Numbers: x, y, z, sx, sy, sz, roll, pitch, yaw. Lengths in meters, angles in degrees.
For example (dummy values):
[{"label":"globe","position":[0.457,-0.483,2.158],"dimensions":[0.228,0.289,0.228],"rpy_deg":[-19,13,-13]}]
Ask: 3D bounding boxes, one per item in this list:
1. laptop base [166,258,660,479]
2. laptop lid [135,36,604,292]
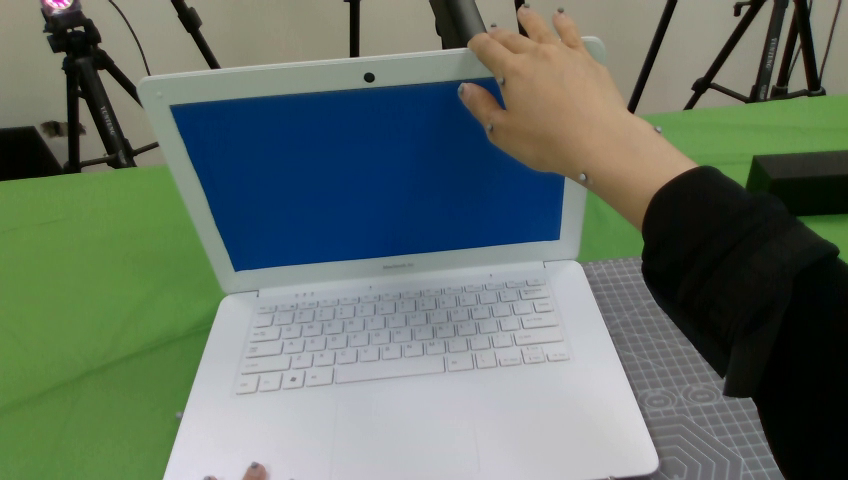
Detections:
[{"label":"laptop base","position":[-0.016,0.111,0.508],"dimensions":[0.354,0.023,0.233],"rpy_deg":[-6,39,1]},{"label":"laptop lid","position":[-0.032,-0.049,0.524],"dimensions":[0.357,0.244,0.013],"rpy_deg":[-7,43,2]}]
